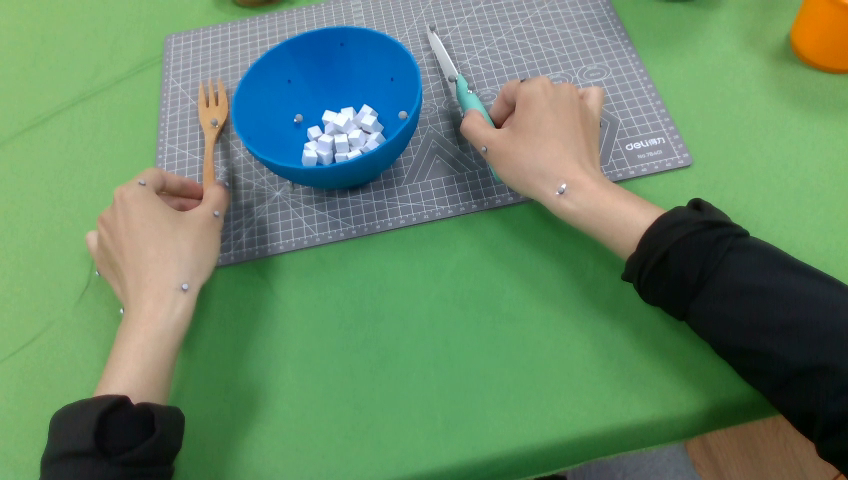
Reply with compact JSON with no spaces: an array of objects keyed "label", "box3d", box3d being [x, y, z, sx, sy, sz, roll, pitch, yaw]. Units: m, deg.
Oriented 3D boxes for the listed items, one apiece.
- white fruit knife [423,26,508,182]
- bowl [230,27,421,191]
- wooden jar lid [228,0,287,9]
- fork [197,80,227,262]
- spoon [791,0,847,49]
[{"label":"white fruit knife","box3d":[0.030,-0.132,0.535,0.016,0.027,0.205,-9,52,-17]},{"label":"bowl","box3d":[-0.072,-0.093,0.500,0.151,0.077,0.150,-3,59,6]},{"label":"wooden jar lid","box3d":[-0.179,-0.294,0.671,0.108,0.021,0.107,-2,59,4]},{"label":"fork","box3d":[-0.186,-0.068,0.530,0.028,0.019,0.205,-9,54,-8]},{"label":"spoon","box3d":[0.391,-0.213,0.473,0.022,0.193,0.041,16,56,-35]}]
